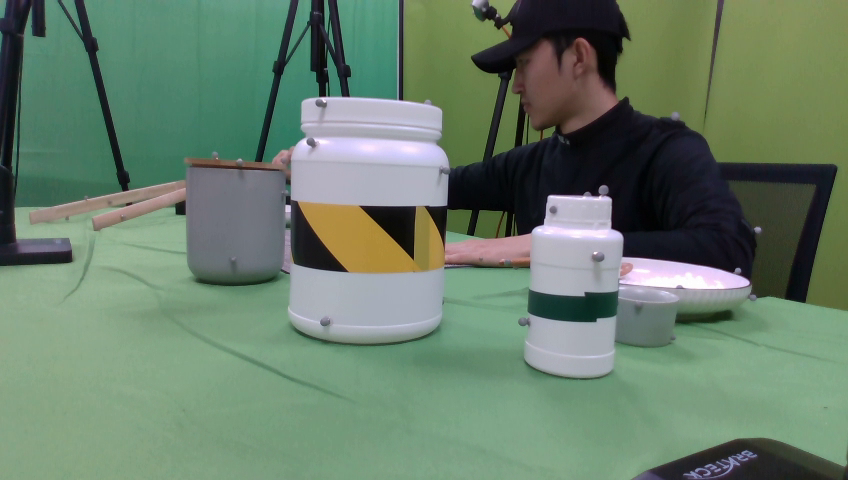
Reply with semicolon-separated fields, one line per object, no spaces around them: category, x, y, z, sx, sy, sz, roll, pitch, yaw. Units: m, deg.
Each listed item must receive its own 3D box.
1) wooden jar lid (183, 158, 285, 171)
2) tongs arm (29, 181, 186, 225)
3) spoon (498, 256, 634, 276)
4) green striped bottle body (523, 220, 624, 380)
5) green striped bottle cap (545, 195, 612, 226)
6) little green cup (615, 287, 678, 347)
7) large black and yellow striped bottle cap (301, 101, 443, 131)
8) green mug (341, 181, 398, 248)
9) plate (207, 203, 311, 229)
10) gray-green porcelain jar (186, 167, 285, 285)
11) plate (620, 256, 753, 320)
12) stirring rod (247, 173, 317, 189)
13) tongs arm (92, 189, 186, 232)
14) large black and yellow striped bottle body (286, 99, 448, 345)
wooden jar lid;-0.210;-0.078;0.674;0.108;0.020;0.108;5;6;0
tongs arm;-0.609;-0.083;1.245;0.050;0.026;0.386;5;16;23
spoon;0.162;0.027;0.679;0.195;0.021;0.041;8;3;-30
green striped bottle body;0.104;0.031;0.422;0.063;0.119;0.063;2;8;0
green striped bottle cap;0.106;-0.020;0.414;0.044;0.020;0.044;2;4;0
little green cup;0.180;0.064;0.506;0.061;0.038;0.061;1;9;0
large black and yellow striped bottle cap;-0.042;-0.100;0.491;0.115;0.019;0.115;1;8;0
green mug;-0.089;-0.044;0.997;0.093;0.105;0.125;1;7;-8
plate;-0.342;-0.050;1.259;0.208;0.039;0.207;3;7;0
gray-green porcelain jar;-0.212;-0.017;0.682;0.106;0.126;0.106;2;7;0
plate;0.234;0.049;0.651;0.209;0.038;0.209;2;7;0
stirring rod;-0.346;-0.144;1.486;0.177;0.014;0.006;7;2;-32
tongs arm;-0.534;-0.076;1.221;0.028;0.028;0.388;-2;15;12
large black and yellow striped bottle body;-0.047;-0.018;0.501;0.131;0.184;0.130;2;7;0
